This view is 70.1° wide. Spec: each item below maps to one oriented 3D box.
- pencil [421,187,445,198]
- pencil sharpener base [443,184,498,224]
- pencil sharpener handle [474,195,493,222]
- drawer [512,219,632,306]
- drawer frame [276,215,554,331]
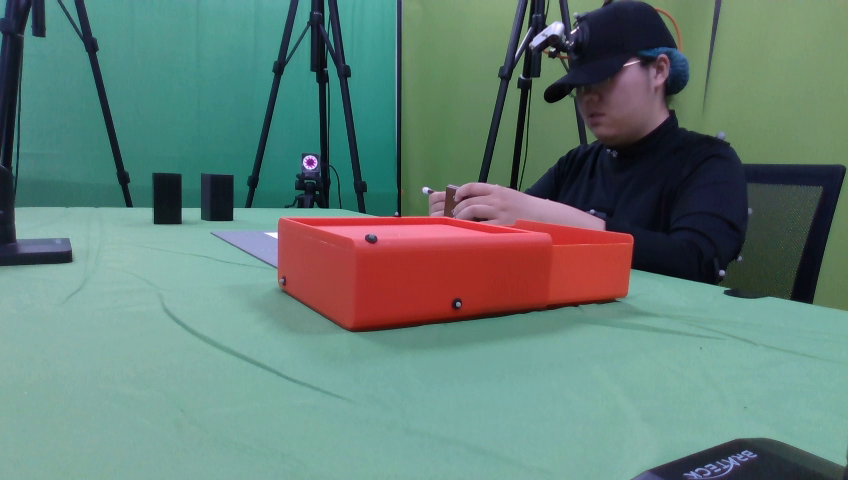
[{"bbox_3d":[0.036,-0.078,1.064,0.012,0.012,0.193,0,11,-24],"label":"pencil"},{"bbox_3d":[0.074,-0.033,0.986,0.061,0.107,0.076,0,12,-28],"label":"pencil sharpener base"},{"bbox_3d":[0.100,-0.035,0.941,0.036,0.067,0.030,-6,15,-26],"label":"pencil sharpener handle"},{"bbox_3d":[0.085,0.021,0.674,0.213,0.073,0.193,-2,9,-32],"label":"drawer"},{"bbox_3d":[-0.015,0.022,0.610,0.215,0.082,0.200,-2,9,-32],"label":"drawer frame"}]
